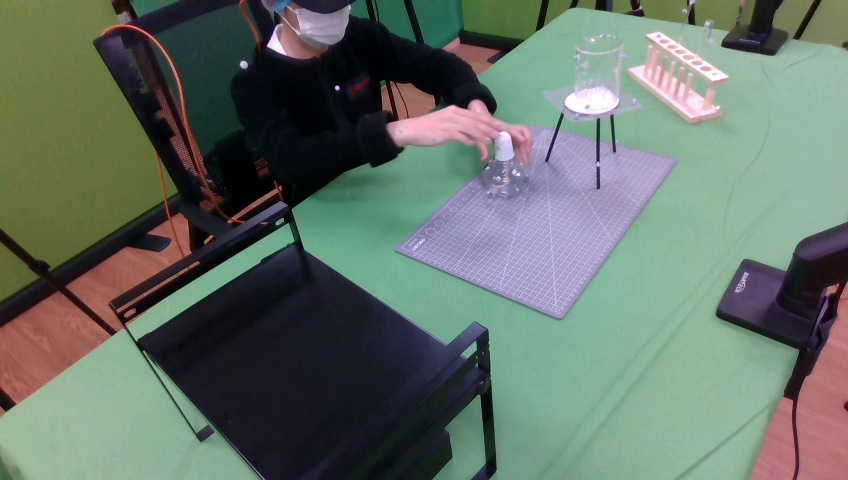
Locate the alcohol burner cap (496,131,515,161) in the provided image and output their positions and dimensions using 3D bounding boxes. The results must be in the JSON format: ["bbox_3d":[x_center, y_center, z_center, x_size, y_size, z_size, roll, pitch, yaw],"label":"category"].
[{"bbox_3d":[0.136,-0.160,1.019,0.034,0.048,0.033,-7,39,7],"label":"alcohol burner cap"}]

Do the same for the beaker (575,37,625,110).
[{"bbox_3d":[0.283,-0.271,0.988,0.074,0.101,0.083,-10,39,1],"label":"beaker"}]

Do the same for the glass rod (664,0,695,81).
[{"bbox_3d":[0.524,-0.414,1.234,0.008,0.200,0.008,1,46,0],"label":"glass rod"}]

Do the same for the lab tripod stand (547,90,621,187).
[{"bbox_3d":[0.289,-0.184,1.062,0.148,0.132,0.147,-6,41,6],"label":"lab tripod stand"}]

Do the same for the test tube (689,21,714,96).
[{"bbox_3d":[0.541,-0.353,1.184,0.017,0.151,0.017,-2,40,2],"label":"test tube"}]

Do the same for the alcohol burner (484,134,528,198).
[{"bbox_3d":[0.141,-0.133,1.041,0.078,0.119,0.077,-5,43,5],"label":"alcohol burner"}]

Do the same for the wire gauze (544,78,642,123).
[{"bbox_3d":[0.282,-0.234,1.021,0.125,0.011,0.120,-17,38,-4],"label":"wire gauze"}]

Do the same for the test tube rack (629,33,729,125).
[{"bbox_3d":[0.516,-0.337,1.248,0.067,0.085,0.240,-15,41,-7],"label":"test tube rack"}]
